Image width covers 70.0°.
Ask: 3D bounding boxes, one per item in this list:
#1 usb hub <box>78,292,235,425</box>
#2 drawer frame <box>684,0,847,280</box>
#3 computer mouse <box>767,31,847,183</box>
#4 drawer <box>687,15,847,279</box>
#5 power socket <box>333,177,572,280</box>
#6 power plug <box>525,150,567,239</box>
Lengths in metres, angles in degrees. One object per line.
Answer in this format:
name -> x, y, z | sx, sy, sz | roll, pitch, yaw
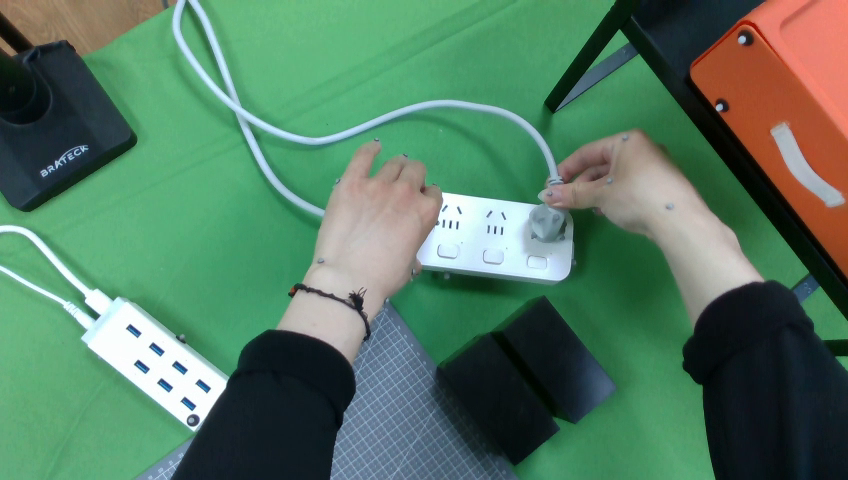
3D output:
usb hub -> -0.229, 0.102, 0.521 | 0.125, 0.025, 0.049 | 38, 80, 1
drawer frame -> 0.325, -0.110, 0.407 | 0.213, 0.083, 0.201 | -37, 86, -11
computer mouse -> 0.297, -0.089, 0.416 | 0.063, 0.041, 0.117 | -40, 85, -7
drawer -> 0.322, -0.106, 0.407 | 0.212, 0.073, 0.194 | -36, 86, -11
power socket -> 0.032, -0.010, 0.564 | 0.227, 0.032, 0.072 | 7, 80, -5
power plug -> 0.114, -0.036, 0.548 | 0.035, 0.053, 0.072 | 19, 74, -7
